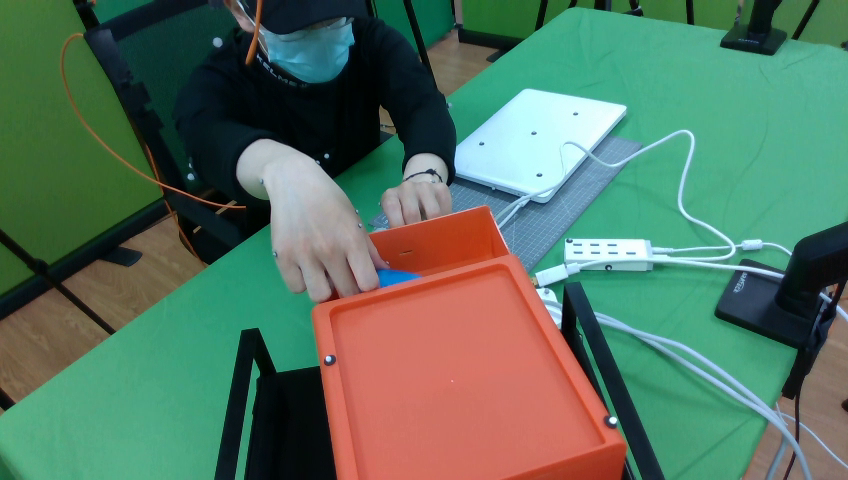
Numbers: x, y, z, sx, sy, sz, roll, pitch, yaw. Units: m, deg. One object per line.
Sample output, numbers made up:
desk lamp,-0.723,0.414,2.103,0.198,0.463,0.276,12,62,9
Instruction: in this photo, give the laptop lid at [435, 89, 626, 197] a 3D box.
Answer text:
laptop lid,0.211,-0.202,1.165,0.240,0.013,0.358,21,47,32

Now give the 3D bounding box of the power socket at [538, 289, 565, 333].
power socket,0.081,0.112,0.822,0.227,0.033,0.072,-7,41,-1

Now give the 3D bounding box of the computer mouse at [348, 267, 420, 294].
computer mouse,-0.021,0.062,0.604,0.117,0.041,0.063,10,43,14

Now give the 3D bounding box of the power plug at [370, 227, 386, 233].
power plug,-0.065,0.009,0.956,0.035,0.053,0.072,-30,54,3

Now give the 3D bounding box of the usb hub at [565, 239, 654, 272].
usb hub,0.275,0.022,0.906,0.125,0.025,0.049,1,41,9

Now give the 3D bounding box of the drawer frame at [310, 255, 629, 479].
drawer frame,0.023,0.124,0.499,0.202,0.083,0.212,-14,41,-9

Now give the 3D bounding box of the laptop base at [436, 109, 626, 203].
laptop base,0.214,-0.193,1.172,0.233,0.023,0.355,19,46,32

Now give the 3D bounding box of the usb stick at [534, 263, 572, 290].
usb stick,0.183,0.056,0.875,0.059,0.021,0.027,-30,2,-6

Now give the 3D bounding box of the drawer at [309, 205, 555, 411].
drawer,0.001,0.071,0.566,0.195,0.073,0.210,-12,40,-6
